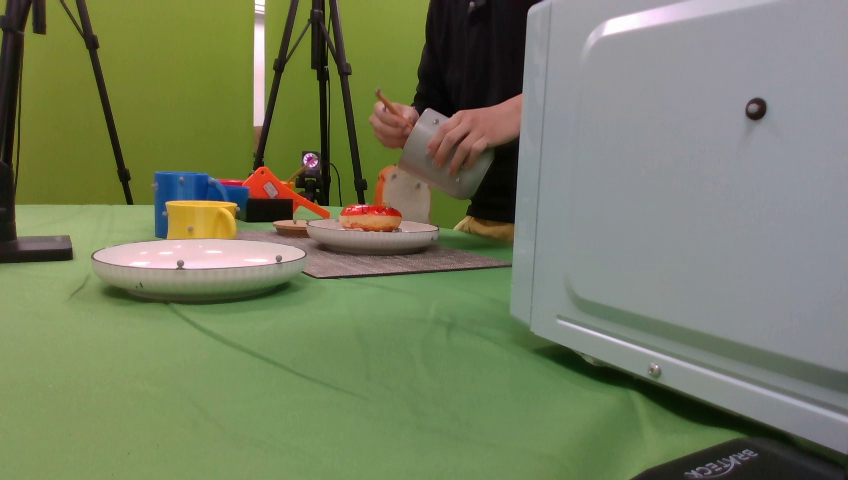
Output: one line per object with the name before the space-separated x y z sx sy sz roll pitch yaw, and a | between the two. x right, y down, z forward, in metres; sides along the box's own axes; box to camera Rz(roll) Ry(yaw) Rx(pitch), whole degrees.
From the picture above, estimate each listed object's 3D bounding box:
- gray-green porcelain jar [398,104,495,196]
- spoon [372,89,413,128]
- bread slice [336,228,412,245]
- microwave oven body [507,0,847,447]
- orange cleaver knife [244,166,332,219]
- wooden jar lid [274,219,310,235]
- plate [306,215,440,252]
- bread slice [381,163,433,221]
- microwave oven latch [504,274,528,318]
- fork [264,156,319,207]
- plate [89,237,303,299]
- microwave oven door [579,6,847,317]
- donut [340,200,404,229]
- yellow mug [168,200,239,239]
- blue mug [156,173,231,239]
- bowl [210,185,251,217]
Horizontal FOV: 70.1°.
gray-green porcelain jar | 0.038 -0.135 0.937 0.126 0.105 0.106 28 10 3
spoon | -0.011 -0.163 0.943 0.021 0.194 0.041 -43 9 -14
bread slice | -0.074 -0.006 0.938 0.105 0.019 0.131 -2 5 -18
microwave oven body | 0.331 -0.042 0.425 0.444 0.260 0.324 -2 8 -31
orange cleaver knife | -0.301 -0.089 1.351 0.212 0.077 0.012 32 -11 -34
wooden jar lid | -0.213 -0.023 1.081 0.108 0.020 0.108 3 7 0
plate | -0.079 -0.011 0.950 0.209 0.038 0.209 2 8 0
bread slice | -0.035 -0.076 1.125 0.107 0.134 0.018 -4 2 -25
microwave oven latch | 0.100 0.041 0.471 0.079 0.029 0.030 -1 8 -28
fork | -0.331 -0.144 1.506 0.207 0.018 0.028 -42 -20 22
plate | -0.233 0.029 0.637 0.208 0.039 0.207 2 7 0
microwave oven door | 0.294 -0.067 0.570 0.358 0.243 0.039 -3 9 -31
donut | -0.081 -0.038 0.944 0.099 0.048 0.099 1 4 0
yellow mug | -0.320 -0.023 0.904 0.130 0.064 0.100 9 11 36
blue mug | -0.381 -0.057 1.004 0.117 0.106 0.082 0 8 -12
bowl | -0.408 -0.064 1.155 0.151 0.077 0.151 2 8 0
